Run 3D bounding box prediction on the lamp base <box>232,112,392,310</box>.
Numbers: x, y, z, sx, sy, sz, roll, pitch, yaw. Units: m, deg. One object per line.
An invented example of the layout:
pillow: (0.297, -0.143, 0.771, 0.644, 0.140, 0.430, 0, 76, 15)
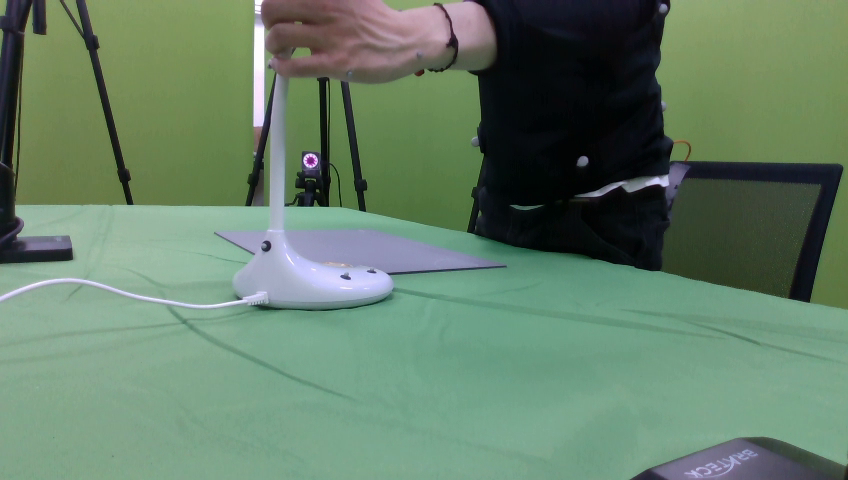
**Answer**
lamp base: (-0.113, -0.031, 0.593, 0.160, 0.180, 0.179, 5, 10, 18)
